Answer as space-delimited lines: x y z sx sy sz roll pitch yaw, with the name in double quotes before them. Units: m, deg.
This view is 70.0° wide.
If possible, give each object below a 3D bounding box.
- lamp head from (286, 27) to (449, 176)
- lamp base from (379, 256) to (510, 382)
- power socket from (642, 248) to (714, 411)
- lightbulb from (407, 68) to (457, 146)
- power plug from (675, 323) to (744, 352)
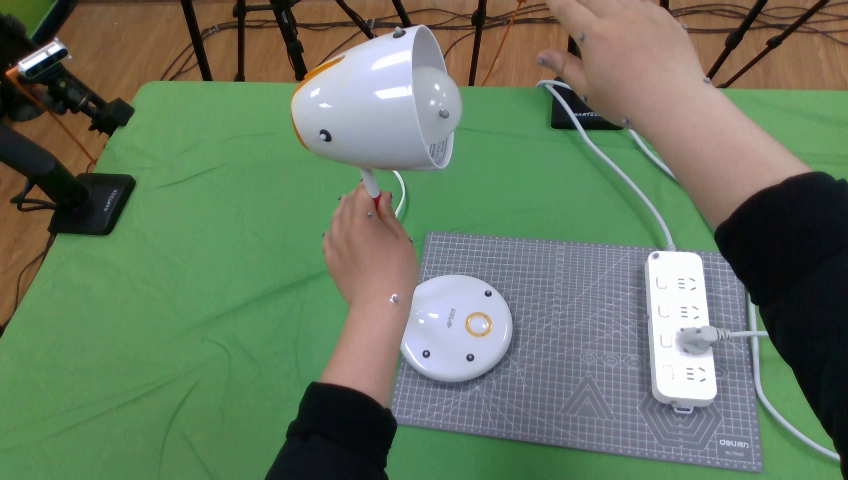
"lamp head" -0.047 -0.103 0.498 0.122 0.113 0.111 -9 55 21
"lamp base" 0.014 0.077 0.768 0.179 0.182 0.159 -2 57 11
"power socket" 0.328 0.107 0.790 0.072 0.033 0.225 3 58 9
"lightbulb" -0.026 -0.105 0.482 0.107 0.060 0.059 2 57 19
"power plug" 0.350 0.126 0.752 0.072 0.053 0.035 12 61 13
